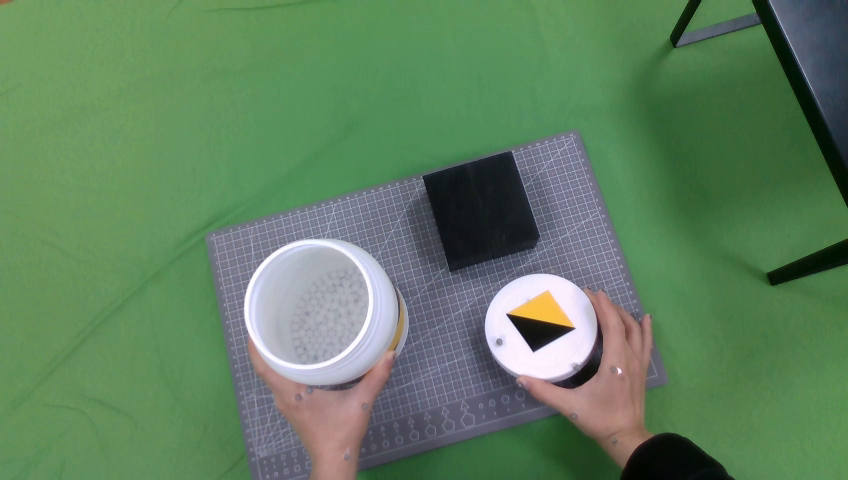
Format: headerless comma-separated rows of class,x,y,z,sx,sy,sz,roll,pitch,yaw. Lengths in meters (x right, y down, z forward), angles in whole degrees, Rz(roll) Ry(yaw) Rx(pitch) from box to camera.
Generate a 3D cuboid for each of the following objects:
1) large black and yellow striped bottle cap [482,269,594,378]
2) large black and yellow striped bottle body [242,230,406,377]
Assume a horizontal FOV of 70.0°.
large black and yellow striped bottle cap,0.117,0.084,0.626,0.115,0.019,0.114,-6,61,11
large black and yellow striped bottle body,-0.090,0.065,0.581,0.131,0.185,0.130,-1,77,4
